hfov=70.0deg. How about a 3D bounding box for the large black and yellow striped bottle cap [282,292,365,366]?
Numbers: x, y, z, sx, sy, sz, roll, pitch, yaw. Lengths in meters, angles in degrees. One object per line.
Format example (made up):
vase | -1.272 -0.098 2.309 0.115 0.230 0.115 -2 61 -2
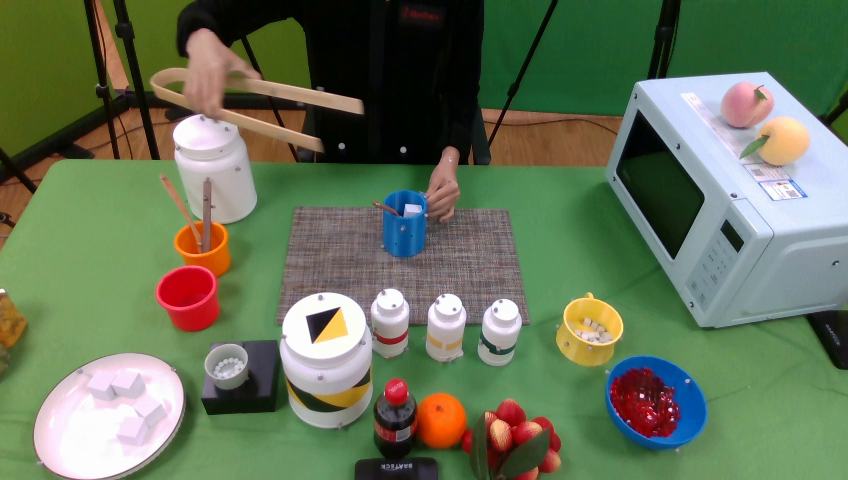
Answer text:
large black and yellow striped bottle cap | -0.138 0.121 0.841 0.115 0.019 0.114 3 47 -3

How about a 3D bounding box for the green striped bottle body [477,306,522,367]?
green striped bottle body | 0.124 0.151 0.995 0.063 0.120 0.063 2 46 -2

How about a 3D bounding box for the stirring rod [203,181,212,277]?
stirring rod | -0.396 -0.021 1.108 0.014 0.006 0.176 -1 89 -1

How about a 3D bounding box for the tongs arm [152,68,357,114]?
tongs arm | -0.284 -0.238 0.984 0.383 0.027 0.050 16 49 23

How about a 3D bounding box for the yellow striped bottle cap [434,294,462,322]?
yellow striped bottle cap | 0.037 0.107 0.958 0.044 0.019 0.044 2 45 -2

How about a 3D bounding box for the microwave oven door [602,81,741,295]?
microwave oven door | 0.456 -0.107 1.162 0.039 0.245 0.353 -7 47 -11

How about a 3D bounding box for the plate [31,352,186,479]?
plate | -0.459 0.262 0.897 0.209 0.038 0.208 2 45 -2

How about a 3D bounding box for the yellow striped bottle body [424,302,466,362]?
yellow striped bottle body | 0.035 0.143 0.995 0.063 0.121 0.062 3 46 -3

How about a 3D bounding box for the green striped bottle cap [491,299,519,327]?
green striped bottle cap | 0.128 0.115 0.958 0.044 0.020 0.044 1 47 -1

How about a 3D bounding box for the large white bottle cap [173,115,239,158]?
large white bottle cap | -0.403 -0.195 1.122 0.115 0.018 0.114 2 47 -2

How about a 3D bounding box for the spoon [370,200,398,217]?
spoon | -0.059 -0.047 1.116 0.041 0.194 0.021 36 88 22

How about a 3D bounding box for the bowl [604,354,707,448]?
bowl | 0.346 0.261 0.937 0.151 0.077 0.150 2 46 -2

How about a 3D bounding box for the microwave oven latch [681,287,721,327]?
microwave oven latch | 0.494 0.119 1.087 0.030 0.029 0.078 -6 46 -9

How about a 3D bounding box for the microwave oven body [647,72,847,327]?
microwave oven body | 0.607 -0.089 1.164 0.326 0.261 0.438 -7 46 -10

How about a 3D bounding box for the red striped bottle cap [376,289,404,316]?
red striped bottle cap | -0.054 0.098 0.958 0.044 0.018 0.044 0 48 1

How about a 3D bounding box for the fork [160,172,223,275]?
fork | -0.426 -0.030 1.103 0.028 0.018 0.207 -29 98 -19

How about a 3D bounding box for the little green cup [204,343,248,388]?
little green cup | -0.294 0.191 0.909 0.061 0.039 0.061 1 48 -1

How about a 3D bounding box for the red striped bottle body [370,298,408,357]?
red striped bottle body | -0.058 0.134 0.996 0.063 0.120 0.062 3 46 -3

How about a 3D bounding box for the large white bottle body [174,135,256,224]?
large white bottle body | -0.407 -0.137 1.183 0.131 0.185 0.130 2 46 -2

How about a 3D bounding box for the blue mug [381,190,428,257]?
blue mug | -0.030 -0.040 1.172 0.082 0.106 0.116 31 51 23

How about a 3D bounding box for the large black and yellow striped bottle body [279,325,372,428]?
large black and yellow striped bottle body | -0.143 0.181 0.900 0.131 0.185 0.130 2 46 -2

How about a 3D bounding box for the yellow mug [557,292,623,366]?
yellow mug | 0.285 0.145 1.051 0.100 0.064 0.130 7 45 4

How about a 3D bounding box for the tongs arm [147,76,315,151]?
tongs arm | -0.314 -0.200 0.947 0.386 0.028 0.028 22 55 27
